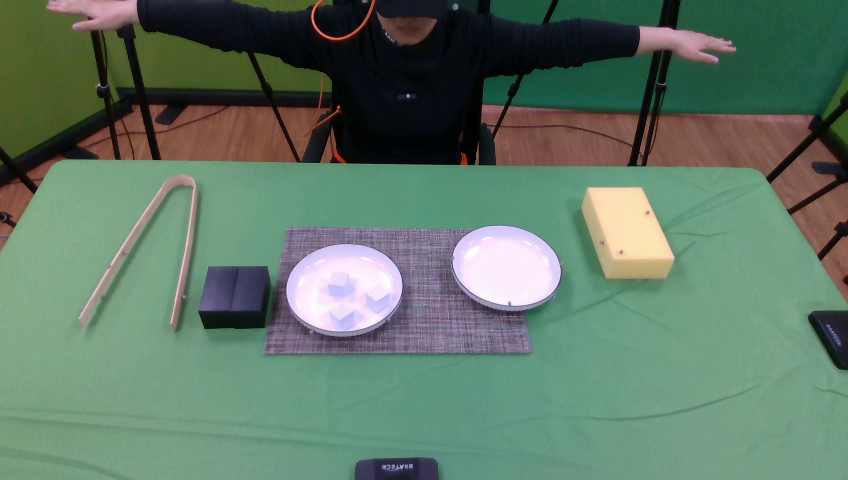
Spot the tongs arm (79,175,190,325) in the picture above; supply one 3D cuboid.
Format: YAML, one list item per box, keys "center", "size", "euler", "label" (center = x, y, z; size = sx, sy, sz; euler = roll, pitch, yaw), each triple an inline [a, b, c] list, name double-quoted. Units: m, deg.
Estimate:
- center: [-0.534, 0.005, 1.145]
  size: [0.051, 0.026, 0.382]
  euler: [6, 45, 1]
  label: "tongs arm"

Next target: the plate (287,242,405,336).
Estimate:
- center: [-0.138, 0.090, 1.084]
  size: [0.208, 0.039, 0.206]
  euler: [2, 46, -2]
  label: "plate"

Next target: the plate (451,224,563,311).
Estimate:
- center: [0.154, 0.053, 1.140]
  size: [0.209, 0.038, 0.208]
  euler: [2, 46, -2]
  label: "plate"

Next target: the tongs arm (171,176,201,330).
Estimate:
- center: [-0.453, 0.010, 1.151]
  size: [0.028, 0.028, 0.385]
  euler: [-6, 47, -6]
  label: "tongs arm"

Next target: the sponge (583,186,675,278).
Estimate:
- center: [0.404, -0.020, 1.215]
  size: [0.118, 0.061, 0.205]
  euler: [-2, 46, -4]
  label: "sponge"
